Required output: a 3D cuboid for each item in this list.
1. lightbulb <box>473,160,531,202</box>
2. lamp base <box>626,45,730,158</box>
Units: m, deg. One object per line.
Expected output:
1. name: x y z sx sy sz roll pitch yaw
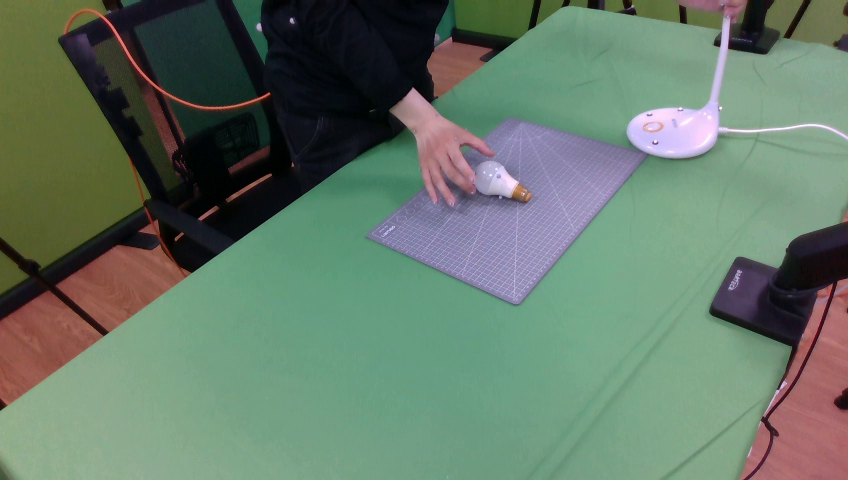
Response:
1. lightbulb: 0.135 -0.097 1.038 0.107 0.059 0.059 29 50 15
2. lamp base: 0.468 -0.262 1.085 0.179 0.181 0.159 -4 41 -1
